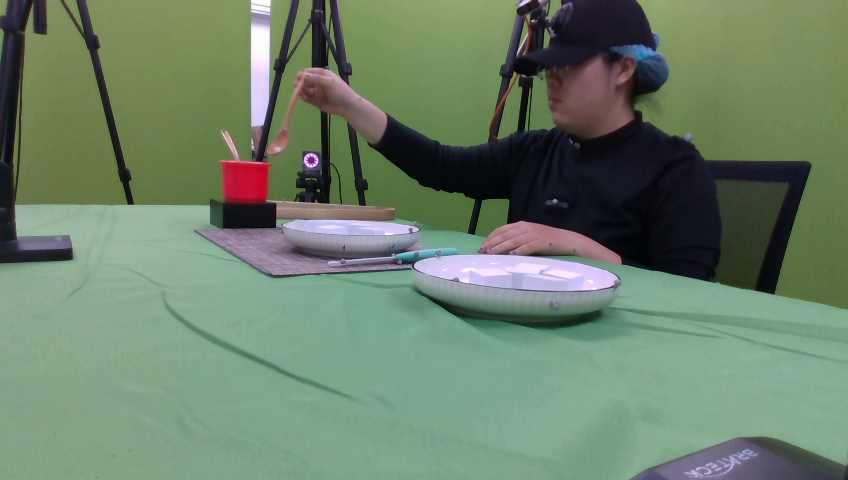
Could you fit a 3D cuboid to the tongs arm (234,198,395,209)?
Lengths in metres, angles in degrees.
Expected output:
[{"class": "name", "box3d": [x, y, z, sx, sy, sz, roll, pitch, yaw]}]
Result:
[{"class": "tongs arm", "box3d": [-0.263, -0.076, 1.460, 0.386, 0.026, 0.050, 3, 8, -8]}]

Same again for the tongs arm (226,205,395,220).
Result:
[{"class": "tongs arm", "box3d": [-0.247, -0.062, 1.382, 0.389, 0.028, 0.028, 0, 5, -21]}]

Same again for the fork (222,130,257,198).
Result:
[{"class": "fork", "box3d": [-0.368, -0.152, 1.193, 0.028, 0.018, 0.206, -8, 54, -31]}]

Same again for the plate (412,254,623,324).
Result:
[{"class": "plate", "box3d": [0.091, 0.047, 0.609, 0.209, 0.038, 0.209, 2, 7, 0]}]

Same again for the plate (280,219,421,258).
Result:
[{"class": "plate", "box3d": [-0.108, -0.002, 0.902, 0.208, 0.039, 0.207, 3, 7, 0]}]

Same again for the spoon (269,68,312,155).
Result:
[{"class": "spoon", "box3d": [-0.253, -0.248, 1.162, 0.041, 0.193, 0.022, 9, -14, 35]}]

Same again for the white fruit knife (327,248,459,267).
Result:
[{"class": "white fruit knife", "box3d": [-0.034, 0.026, 0.807, 0.208, 0.016, 0.027, -4, -18, -34]}]
